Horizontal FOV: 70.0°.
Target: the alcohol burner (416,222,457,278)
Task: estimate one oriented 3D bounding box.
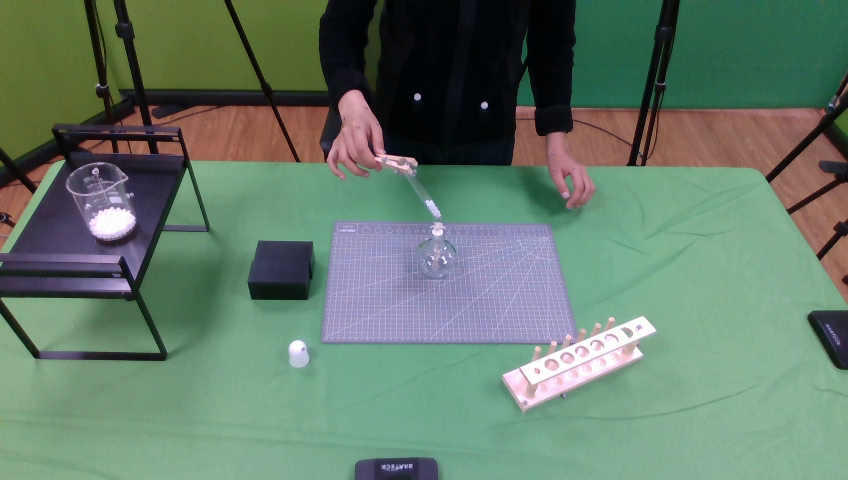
[{"bbox_3d":[0.024,0.013,1.116,0.078,0.120,0.077,1,45,-1],"label":"alcohol burner"}]

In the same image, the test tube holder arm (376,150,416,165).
[{"bbox_3d":[-0.047,-0.133,0.969,0.087,0.015,0.010,17,82,44],"label":"test tube holder arm"}]

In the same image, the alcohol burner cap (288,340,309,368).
[{"bbox_3d":[-0.207,0.183,0.991,0.034,0.048,0.033,3,47,-3],"label":"alcohol burner cap"}]

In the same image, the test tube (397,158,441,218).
[{"bbox_3d":[-0.006,-0.084,1.005,0.017,0.151,0.017,-15,50,20],"label":"test tube"}]

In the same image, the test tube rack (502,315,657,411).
[{"bbox_3d":[0.253,0.186,0.989,0.242,0.085,0.066,-18,50,-20],"label":"test tube rack"}]

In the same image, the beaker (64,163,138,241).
[{"bbox_3d":[-0.477,-0.055,0.910,0.084,0.101,0.073,-9,48,-13],"label":"beaker"}]

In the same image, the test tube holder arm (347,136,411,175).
[{"bbox_3d":[-0.078,-0.142,1.000,0.177,0.015,0.013,32,92,44],"label":"test tube holder arm"}]
